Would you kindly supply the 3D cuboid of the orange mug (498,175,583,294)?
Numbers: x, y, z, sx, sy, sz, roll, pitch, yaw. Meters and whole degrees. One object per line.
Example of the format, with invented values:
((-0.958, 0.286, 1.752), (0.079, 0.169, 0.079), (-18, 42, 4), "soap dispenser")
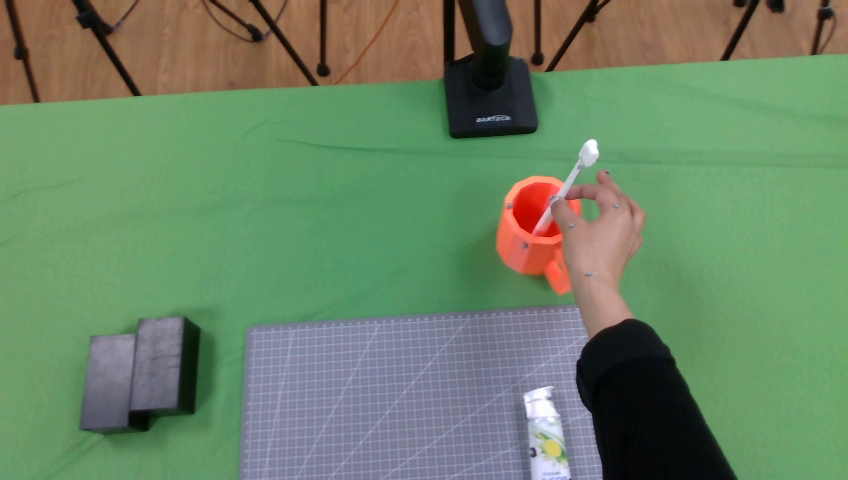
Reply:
((0.141, -0.002, 0.704), (0.083, 0.101, 0.125), (-24, 64, -9), "orange mug")

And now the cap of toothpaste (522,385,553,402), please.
((0.125, 0.169, 0.661), (0.037, 0.037, 0.011), (-15, 65, -6), "cap of toothpaste")

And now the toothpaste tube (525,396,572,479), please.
((0.131, 0.246, 0.636), (0.055, 0.035, 0.164), (-7, 71, 5), "toothpaste tube")

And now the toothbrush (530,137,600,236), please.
((0.141, -0.042, 0.634), (0.014, 0.183, 0.016), (-11, 61, -20), "toothbrush")
